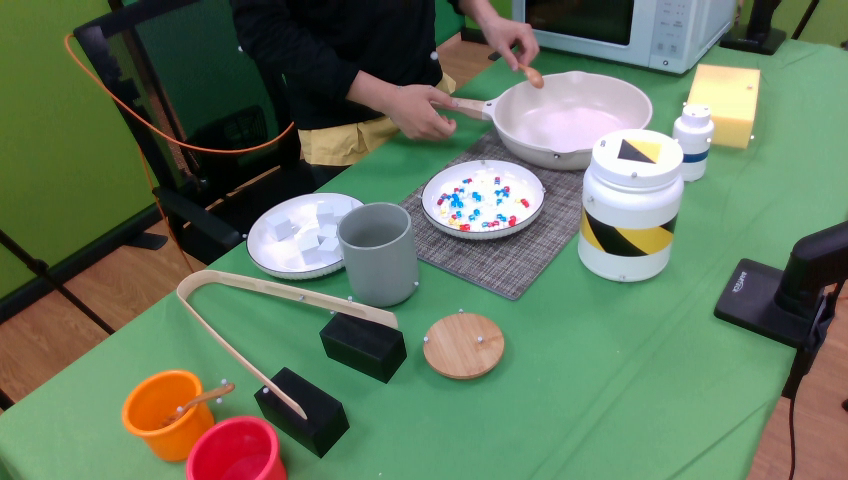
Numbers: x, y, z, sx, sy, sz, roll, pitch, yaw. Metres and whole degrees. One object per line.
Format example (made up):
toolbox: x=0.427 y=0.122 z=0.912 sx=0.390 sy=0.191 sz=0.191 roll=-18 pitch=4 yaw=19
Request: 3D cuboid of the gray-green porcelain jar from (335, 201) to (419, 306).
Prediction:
gray-green porcelain jar: x=-0.064 y=0.024 z=0.872 sx=0.106 sy=0.127 sz=0.105 roll=-4 pitch=41 yaw=4

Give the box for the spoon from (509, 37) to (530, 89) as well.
spoon: x=0.190 y=-0.360 z=1.212 sx=0.021 sy=0.042 sz=0.193 roll=-13 pitch=42 yaw=13

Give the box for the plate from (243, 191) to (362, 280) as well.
plate: x=-0.188 y=-0.005 z=0.992 sx=0.207 sy=0.039 sz=0.206 roll=-4 pitch=41 yaw=4

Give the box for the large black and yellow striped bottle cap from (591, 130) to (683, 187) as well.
large black and yellow striped bottle cap: x=0.282 y=-0.111 z=0.803 sx=0.115 sy=0.019 sz=0.114 roll=-3 pitch=41 yaw=3

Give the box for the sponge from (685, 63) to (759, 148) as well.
sponge: x=0.569 y=-0.263 z=1.164 sx=0.117 sy=0.061 sz=0.207 roll=12 pitch=45 yaw=22

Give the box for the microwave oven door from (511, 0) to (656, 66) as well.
microwave oven door: x=0.351 y=-0.540 z=1.349 sx=0.353 sy=0.245 sz=0.039 roll=24 pitch=50 yaw=31

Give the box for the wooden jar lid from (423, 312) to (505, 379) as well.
wooden jar lid: x=0.053 y=0.142 z=0.800 sx=0.108 sy=0.021 sz=0.108 roll=-5 pitch=39 yaw=4

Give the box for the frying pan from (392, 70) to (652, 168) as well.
frying pan: x=0.176 y=-0.248 z=1.165 sx=0.487 sy=0.103 sz=0.306 roll=12 pitch=42 yaw=9

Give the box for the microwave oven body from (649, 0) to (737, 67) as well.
microwave oven body: x=0.475 y=-0.602 z=1.411 sx=0.438 sy=0.261 sz=0.327 roll=23 pitch=50 yaw=32

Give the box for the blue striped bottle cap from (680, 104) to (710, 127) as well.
blue striped bottle cap: x=0.443 y=-0.205 z=0.989 sx=0.044 sy=0.021 sz=0.044 roll=-1 pitch=41 yaw=2

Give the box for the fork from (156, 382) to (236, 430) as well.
fork: x=-0.262 y=0.189 z=0.690 sx=0.018 sy=0.206 sz=0.028 roll=49 pitch=43 yaw=-7

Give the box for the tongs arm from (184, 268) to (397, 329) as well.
tongs arm: x=-0.202 y=0.084 z=0.848 sx=0.382 sy=0.027 sz=0.051 roll=11 pitch=45 yaw=35

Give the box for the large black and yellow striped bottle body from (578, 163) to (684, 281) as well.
large black and yellow striped bottle body: x=0.291 y=-0.046 z=0.859 sx=0.131 sy=0.185 sz=0.130 roll=-4 pitch=41 yaw=4

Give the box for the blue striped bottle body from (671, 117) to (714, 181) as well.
blue striped bottle body: x=0.449 y=-0.165 z=1.022 sx=0.063 sy=0.121 sz=0.063 roll=-5 pitch=41 yaw=4

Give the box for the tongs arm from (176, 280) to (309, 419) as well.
tongs arm: x=-0.254 y=0.133 z=0.801 sx=0.028 sy=0.028 sz=0.384 roll=-41 pitch=41 yaw=-23

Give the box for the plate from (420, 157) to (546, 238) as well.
plate: x=0.099 y=-0.067 z=1.017 sx=0.209 sy=0.038 sz=0.208 roll=-4 pitch=40 yaw=4

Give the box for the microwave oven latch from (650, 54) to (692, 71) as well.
microwave oven latch: x=0.531 y=-0.386 z=1.301 sx=0.078 sy=0.029 sz=0.030 roll=24 pitch=50 yaw=32
